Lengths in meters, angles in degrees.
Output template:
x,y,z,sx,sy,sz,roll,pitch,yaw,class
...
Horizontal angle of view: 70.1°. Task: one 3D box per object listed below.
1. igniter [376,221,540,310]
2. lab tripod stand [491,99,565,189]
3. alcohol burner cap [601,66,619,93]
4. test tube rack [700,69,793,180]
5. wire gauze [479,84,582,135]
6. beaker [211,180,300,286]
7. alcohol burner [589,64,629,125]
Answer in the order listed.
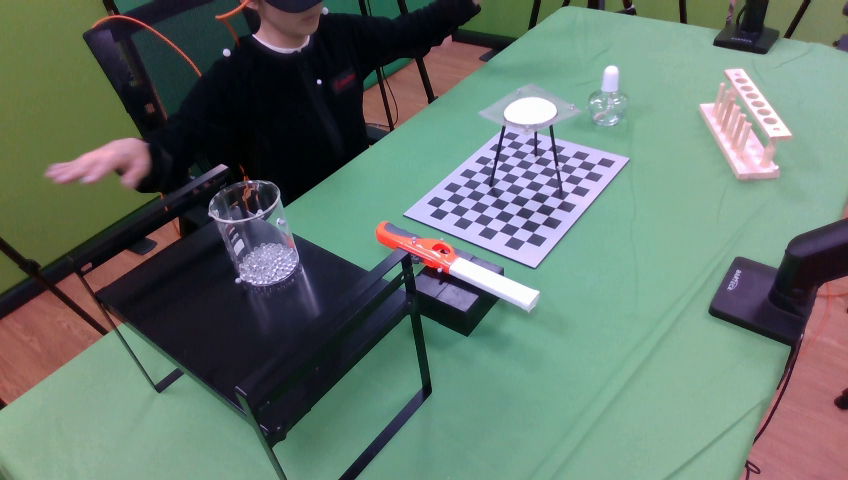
x,y,z,sx,sy,sz,roll,pitch,yaw,class
0.037,0.031,0.858,0.274,0.025,0.057,24,46,29,igniter
0.184,-0.163,1.046,0.148,0.132,0.147,-5,42,5,lab tripod stand
0.361,-0.312,1.166,0.034,0.048,0.033,-3,38,3,alcohol burner cap
0.572,-0.215,1.089,0.066,0.085,0.241,-3,41,7,test tube rack
0.176,-0.216,1.006,0.125,0.011,0.120,-29,46,-22,wire gauze
-0.183,-0.007,0.674,0.074,0.101,0.083,-1,40,7,beaker
0.364,-0.287,1.184,0.078,0.119,0.077,-4,39,4,alcohol burner
